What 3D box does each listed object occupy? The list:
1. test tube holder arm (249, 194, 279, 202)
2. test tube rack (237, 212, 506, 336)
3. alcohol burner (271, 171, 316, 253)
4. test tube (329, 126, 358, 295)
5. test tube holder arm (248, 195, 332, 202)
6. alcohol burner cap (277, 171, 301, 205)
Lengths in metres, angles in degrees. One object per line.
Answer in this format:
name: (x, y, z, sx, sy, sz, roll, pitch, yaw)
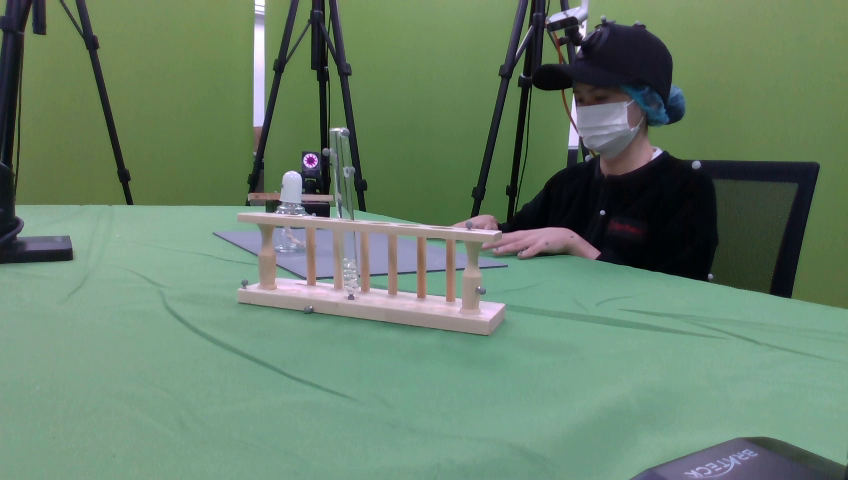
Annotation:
test tube holder arm: (-0.302, -0.084, 1.197, 0.088, 0.015, 0.010, -2, 1, -37)
test tube rack: (-0.049, 0.024, 0.552, 0.242, 0.085, 0.067, 5, 8, 18)
alcohol burner: (-0.196, -0.041, 0.884, 0.078, 0.119, 0.078, 3, 5, 0)
test tube: (-0.071, -0.025, 0.534, 0.017, 0.150, 0.017, -3, 10, 1)
test tube holder arm: (-0.269, -0.085, 1.229, 0.179, 0.015, 0.013, -2, 1, -37)
alcohol burner cap: (-0.195, -0.077, 0.880, 0.034, 0.048, 0.034, 7, 7, 0)
